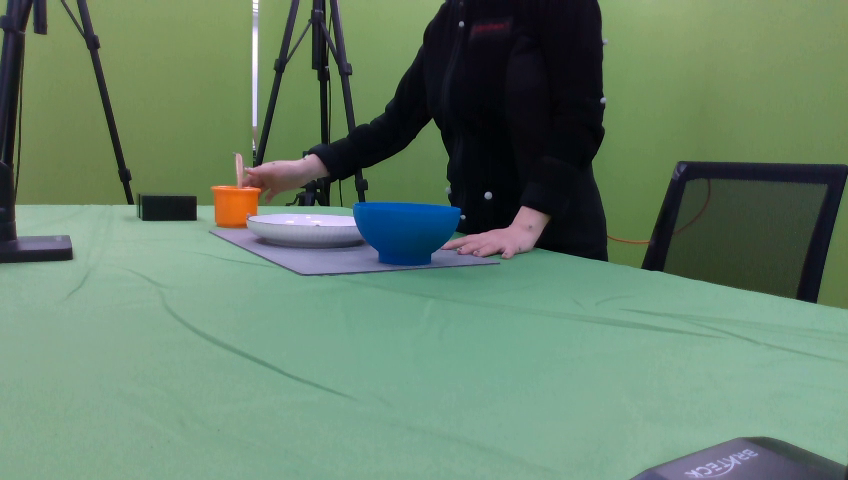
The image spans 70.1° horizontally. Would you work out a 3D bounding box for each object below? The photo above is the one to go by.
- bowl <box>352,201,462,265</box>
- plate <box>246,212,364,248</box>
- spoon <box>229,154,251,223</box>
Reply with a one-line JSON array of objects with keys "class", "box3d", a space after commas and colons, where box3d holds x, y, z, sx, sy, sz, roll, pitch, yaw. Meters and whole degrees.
[{"class": "bowl", "box3d": [-0.025, -0.009, 0.831, 0.151, 0.077, 0.151, 3, 7, 0]}, {"class": "plate", "box3d": [-0.185, -0.017, 0.994, 0.209, 0.038, 0.209, 3, 8, 0]}, {"class": "spoon", "box3d": [-0.368, -0.106, 1.208, 0.042, 0.193, 0.021, 2, -36, -20]}]
